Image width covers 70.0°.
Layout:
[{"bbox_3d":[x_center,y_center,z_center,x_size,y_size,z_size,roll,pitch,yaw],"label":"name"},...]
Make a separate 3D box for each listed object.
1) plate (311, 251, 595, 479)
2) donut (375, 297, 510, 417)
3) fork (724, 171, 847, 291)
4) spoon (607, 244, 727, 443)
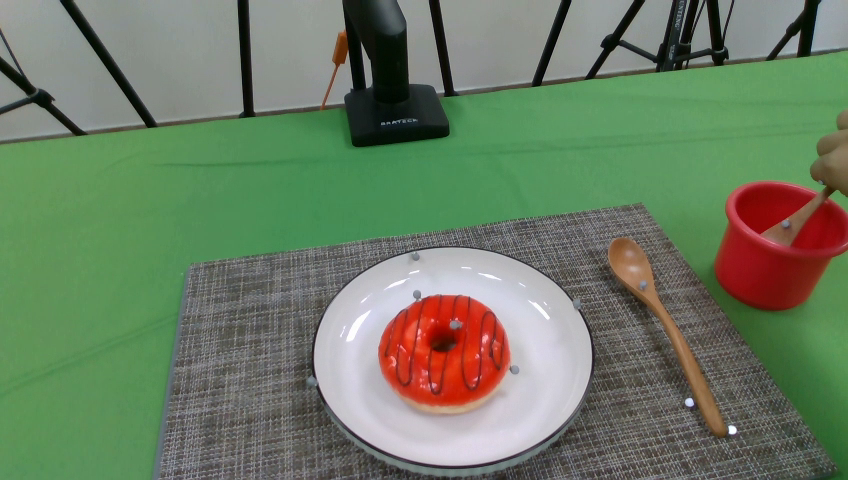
[{"bbox_3d":[0.022,0.089,0.460,0.209,0.038,0.207,-1,40,1],"label":"plate"},{"bbox_3d":[0.014,0.086,0.448,0.099,0.049,0.098,-1,44,2],"label":"donut"},{"bbox_3d":[0.335,-0.035,0.502,0.019,0.207,0.028,18,28,-55],"label":"fork"},{"bbox_3d":[0.192,0.073,0.486,0.042,0.022,0.191,8,38,-16],"label":"spoon"}]
